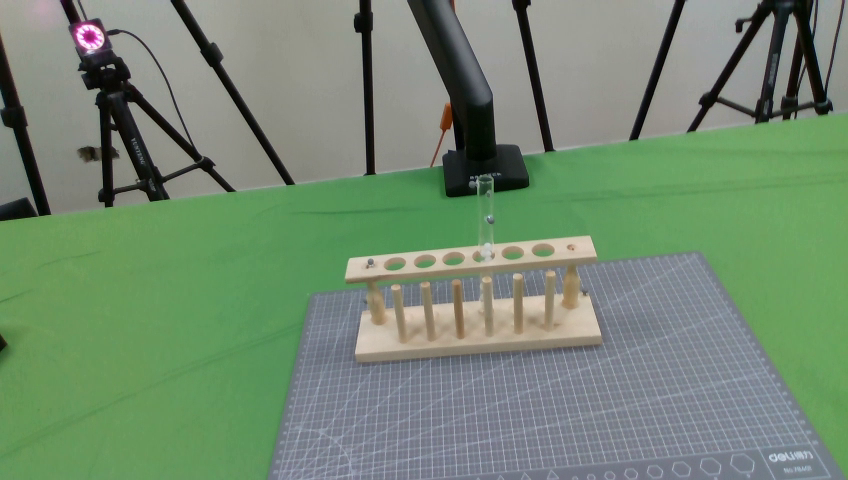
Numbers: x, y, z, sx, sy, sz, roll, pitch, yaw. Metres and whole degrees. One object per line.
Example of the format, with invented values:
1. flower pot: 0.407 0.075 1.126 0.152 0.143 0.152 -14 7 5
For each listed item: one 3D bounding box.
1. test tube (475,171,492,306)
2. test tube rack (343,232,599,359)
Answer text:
1. test tube: 0.059 0.004 0.586 0.017 0.151 0.017 -3 32 2
2. test tube rack: 0.046 0.056 0.601 0.242 0.086 0.066 -5 35 5
